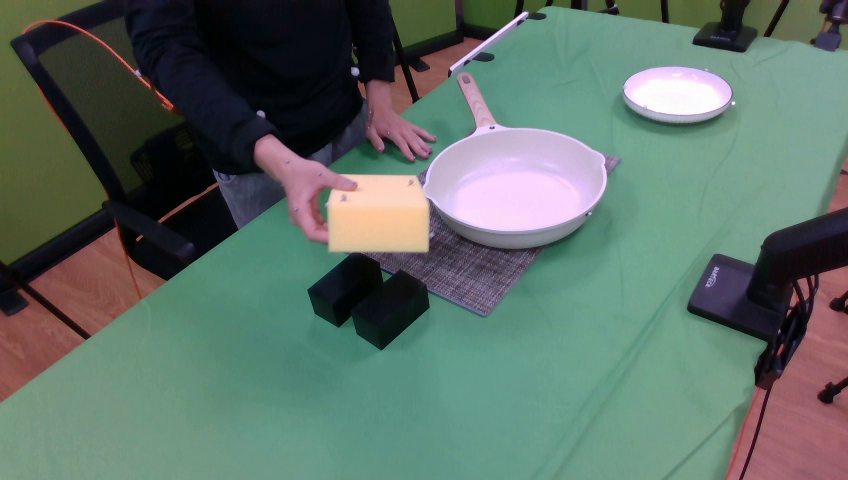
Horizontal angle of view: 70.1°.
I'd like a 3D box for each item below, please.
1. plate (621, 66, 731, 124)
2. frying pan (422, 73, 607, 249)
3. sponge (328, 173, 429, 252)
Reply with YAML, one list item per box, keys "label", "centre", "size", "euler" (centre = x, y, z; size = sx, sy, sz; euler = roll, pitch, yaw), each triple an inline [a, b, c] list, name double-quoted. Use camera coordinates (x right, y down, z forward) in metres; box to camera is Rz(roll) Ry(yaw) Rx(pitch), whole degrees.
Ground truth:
- label: "plate"
  centre: [0.503, -0.288, 1.221]
  size: [0.207, 0.039, 0.206]
  euler: [-4, 41, 4]
- label: "frying pan"
  centre: [0.130, -0.161, 1.069]
  size: [0.307, 0.103, 0.484]
  euler: [-10, 49, -5]
- label: "sponge"
  centre: [-0.062, -0.041, 0.796]
  size: [0.118, 0.061, 0.206]
  euler: [0, 16, -6]
